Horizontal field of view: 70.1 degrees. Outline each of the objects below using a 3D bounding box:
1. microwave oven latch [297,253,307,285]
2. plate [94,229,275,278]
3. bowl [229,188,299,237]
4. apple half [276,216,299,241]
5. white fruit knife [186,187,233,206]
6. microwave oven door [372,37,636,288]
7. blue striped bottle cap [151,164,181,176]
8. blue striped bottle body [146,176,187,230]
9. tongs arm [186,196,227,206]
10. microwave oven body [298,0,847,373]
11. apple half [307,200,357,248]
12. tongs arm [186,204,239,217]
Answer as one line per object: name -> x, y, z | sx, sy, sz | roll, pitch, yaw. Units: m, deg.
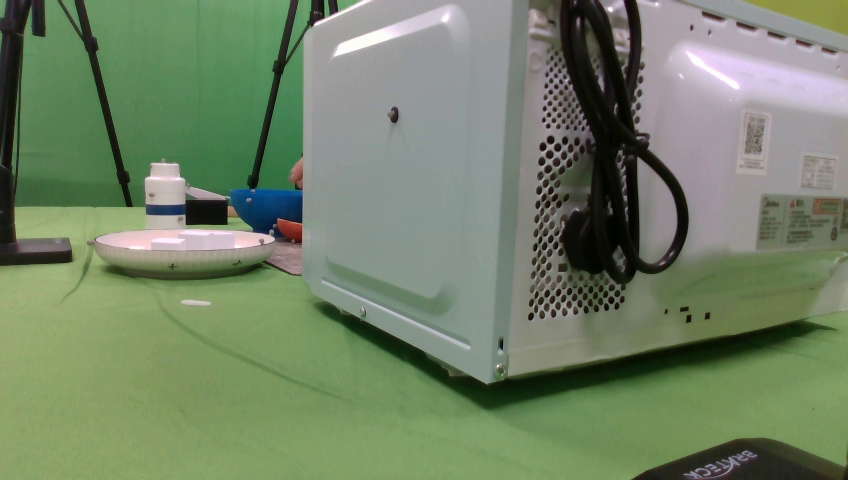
microwave oven latch -> -0.082, 0.027, 0.582 | 0.079, 0.029, 0.030 | -1, 7, -32
plate -> -0.291, 0.016, 0.750 | 0.208, 0.039, 0.207 | 2, 7, 0
bowl -> -0.264, -0.048, 1.066 | 0.151, 0.077, 0.151 | 2, 8, 0
apple half -> -0.202, -0.014, 0.986 | 0.081, 0.033, 0.081 | 12, -5, 1
white fruit knife -> -0.413, -0.081, 1.270 | 0.208, 0.027, 0.016 | 18, 13, -42
microwave oven door -> 0.110, -0.080, 0.686 | 0.358, 0.243, 0.039 | -2, 9, -33
blue striped bottle cap -> -0.428, -0.116, 1.002 | 0.044, 0.020, 0.044 | 1, 6, 0
blue striped bottle body -> -0.430, -0.065, 1.010 | 0.063, 0.120, 0.063 | 2, 7, 0
tongs arm -> -0.404, -0.081, 1.479 | 0.385, 0.026, 0.050 | 3, 8, -2
microwave oven body -> 0.151, -0.055, 0.542 | 0.444, 0.260, 0.324 | -2, 7, -33
apple half -> -0.135, -0.024, 0.942 | 0.053, 0.074, 0.081 | 14, 9, 38
tongs arm -> -0.396, -0.067, 1.399 | 0.389, 0.028, 0.028 | 1, 5, -15
